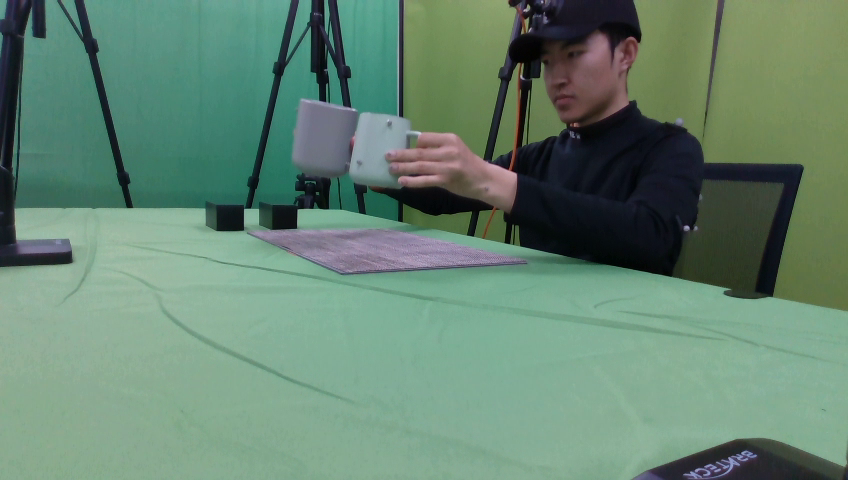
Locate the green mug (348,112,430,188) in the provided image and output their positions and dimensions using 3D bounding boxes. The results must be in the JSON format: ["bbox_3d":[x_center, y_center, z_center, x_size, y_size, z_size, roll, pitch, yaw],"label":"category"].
[{"bbox_3d":[-0.050,-0.133,0.914,0.125,0.105,0.093,9,6,19],"label":"green mug"}]

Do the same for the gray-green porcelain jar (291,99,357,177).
[{"bbox_3d":[-0.183,-0.184,1.099,0.106,0.126,0.106,10,13,-2],"label":"gray-green porcelain jar"}]
